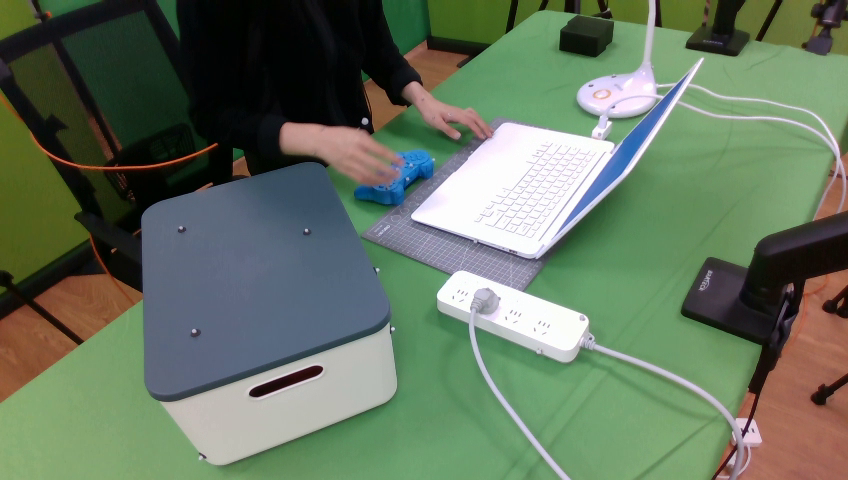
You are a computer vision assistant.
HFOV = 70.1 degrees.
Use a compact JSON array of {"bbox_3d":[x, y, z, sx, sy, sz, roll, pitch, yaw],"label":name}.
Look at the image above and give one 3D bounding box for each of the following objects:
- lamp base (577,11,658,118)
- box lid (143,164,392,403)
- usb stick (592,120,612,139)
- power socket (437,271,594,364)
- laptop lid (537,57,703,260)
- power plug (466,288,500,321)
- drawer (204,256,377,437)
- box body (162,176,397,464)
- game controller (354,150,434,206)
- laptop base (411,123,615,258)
[{"bbox_3d":[0.406,-0.363,1.222,0.180,0.181,0.159,-20,42,-18],"label":"lamp base"},{"bbox_3d":[-0.212,0.025,0.753,0.264,0.015,0.368,-18,40,-13],"label":"box lid"},{"bbox_3d":[0.335,-0.203,1.149,0.021,0.027,0.059,26,53,26],"label":"usb stick"},{"bbox_3d":[0.118,0.102,0.830,0.225,0.033,0.072,20,48,28],"label":"power socket"},{"bbox_3d":[0.304,-0.127,0.928,0.013,0.241,0.357,39,51,4],"label":"laptop lid"},{"bbox_3d":[0.072,0.093,0.813,0.073,0.053,0.035,-37,49,-28],"label":"power plug"},{"bbox_3d":[-0.178,0.129,0.786,0.195,0.073,0.210,-13,39,-10],"label":"drawer"},{"bbox_3d":[-0.205,0.080,0.802,0.255,0.161,0.361,-18,41,-13],"label":"box body"},{"bbox_3d":[-0.051,-0.120,1.105,0.096,0.052,0.155,22,48,29],"label":"game controller"},{"bbox_3d":[0.167,-0.102,1.074,0.234,0.023,0.355,16,45,30],"label":"laptop base"}]
